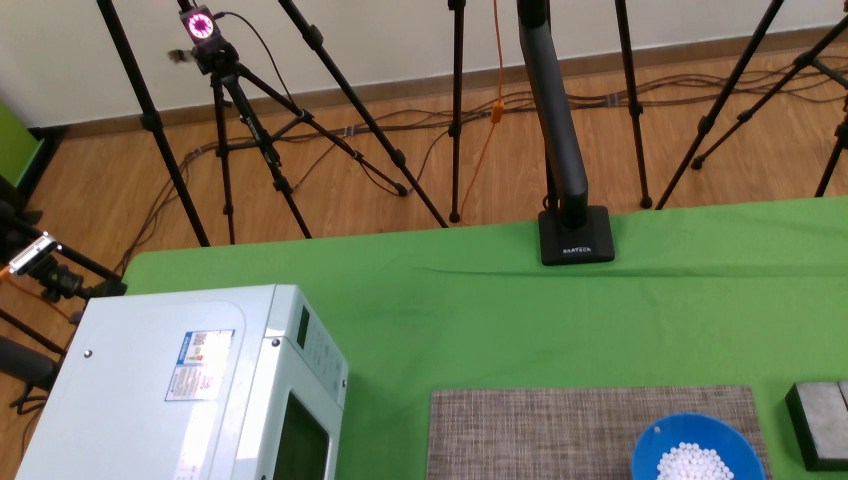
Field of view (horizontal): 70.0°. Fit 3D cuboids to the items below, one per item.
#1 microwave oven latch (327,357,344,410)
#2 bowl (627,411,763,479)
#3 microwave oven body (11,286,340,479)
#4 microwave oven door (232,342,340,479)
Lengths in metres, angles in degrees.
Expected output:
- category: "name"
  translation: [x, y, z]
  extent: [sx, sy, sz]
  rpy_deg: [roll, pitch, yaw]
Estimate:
- category: "microwave oven latch"
  translation: [-0.140, 0.220, 0.927]
  extent: [0.030, 0.030, 0.078]
  rpy_deg: [-5, 53, 9]
- category: "bowl"
  translation: [0.327, 0.298, 0.747]
  extent: [0.151, 0.077, 0.150]
  rpy_deg: [-7, 52, 9]
- category: "microwave oven body"
  translation: [-0.310, 0.316, 0.771]
  extent: [0.325, 0.263, 0.437]
  rpy_deg: [-5, 53, 9]
- category: "microwave oven door"
  translation: [-0.169, 0.332, 0.717]
  extent: [0.039, 0.246, 0.352]
  rpy_deg: [-6, 52, 10]
